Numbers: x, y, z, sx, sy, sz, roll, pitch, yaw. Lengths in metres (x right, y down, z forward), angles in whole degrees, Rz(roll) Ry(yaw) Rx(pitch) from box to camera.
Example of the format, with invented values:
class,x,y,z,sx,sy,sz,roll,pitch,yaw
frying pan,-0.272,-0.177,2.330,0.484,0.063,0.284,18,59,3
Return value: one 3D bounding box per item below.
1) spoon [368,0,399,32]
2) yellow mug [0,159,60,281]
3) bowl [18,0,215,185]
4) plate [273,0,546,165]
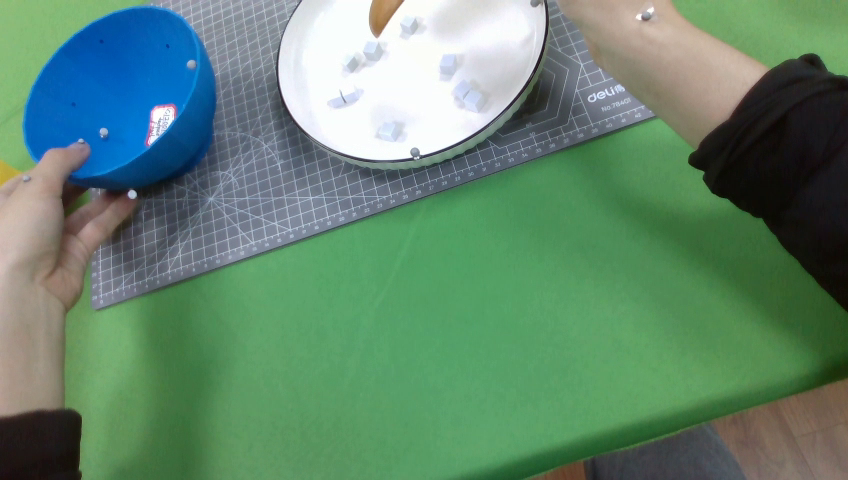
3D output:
class,x,y,z,sx,sy,sz,roll,pitch,yaw
spoon,0.027,-0.190,0.360,0.193,0.022,0.041,-28,47,35
yellow mug,-0.365,-0.009,0.487,0.099,0.064,0.130,4,72,16
bowl,-0.221,-0.100,0.474,0.151,0.077,0.150,-5,68,14
plate,-0.012,-0.145,0.457,0.209,0.038,0.207,-5,69,13
